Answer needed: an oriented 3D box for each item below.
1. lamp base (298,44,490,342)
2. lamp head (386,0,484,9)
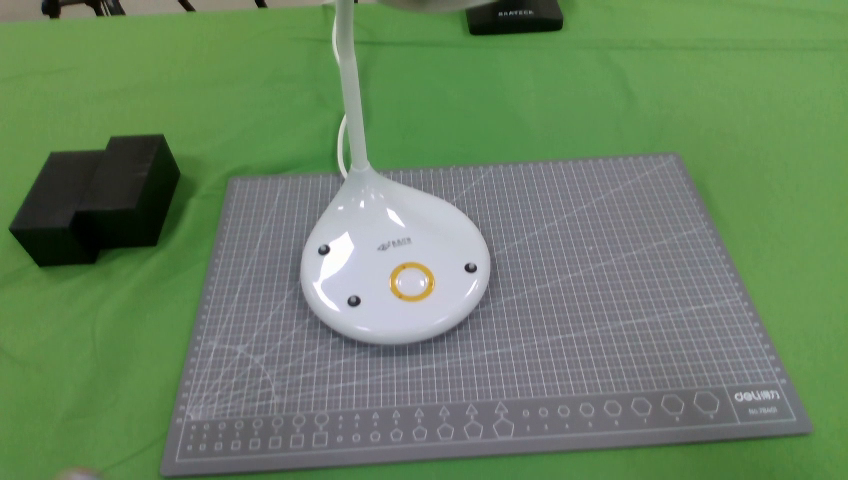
[{"bbox_3d":[-0.034,-0.042,0.460,0.161,0.182,0.177,-25,50,-19],"label":"lamp base"},{"bbox_3d":[0.011,-0.153,0.194,0.112,0.112,0.122,-19,81,-15],"label":"lamp head"}]
